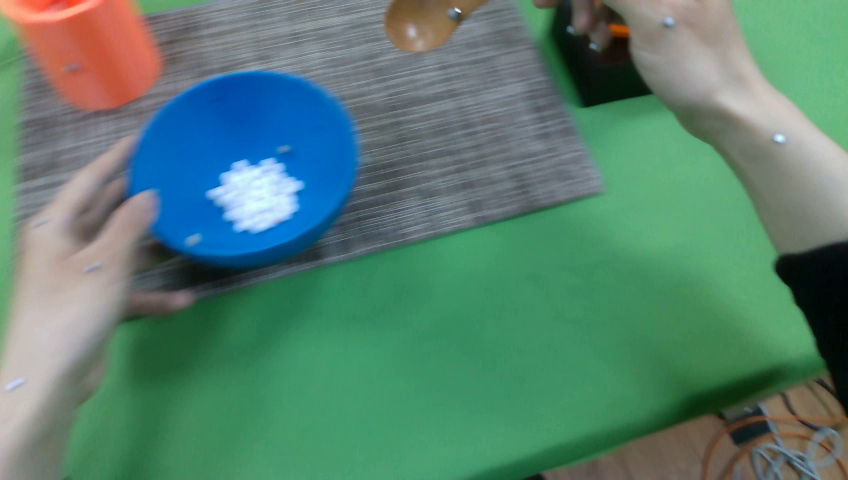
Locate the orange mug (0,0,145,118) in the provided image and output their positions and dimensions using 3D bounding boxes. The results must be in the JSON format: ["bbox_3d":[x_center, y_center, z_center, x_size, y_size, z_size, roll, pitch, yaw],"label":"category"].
[{"bbox_3d":[-0.291,-0.180,0.500,0.083,0.101,0.125,-4,66,-4],"label":"orange mug"}]

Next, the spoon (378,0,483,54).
[{"bbox_3d":[0.043,-0.146,0.351,0.022,0.192,0.042,-20,104,-43],"label":"spoon"}]

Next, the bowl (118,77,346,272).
[{"bbox_3d":[-0.128,-0.035,0.439,0.151,0.077,0.150,1,62,-1],"label":"bowl"}]
